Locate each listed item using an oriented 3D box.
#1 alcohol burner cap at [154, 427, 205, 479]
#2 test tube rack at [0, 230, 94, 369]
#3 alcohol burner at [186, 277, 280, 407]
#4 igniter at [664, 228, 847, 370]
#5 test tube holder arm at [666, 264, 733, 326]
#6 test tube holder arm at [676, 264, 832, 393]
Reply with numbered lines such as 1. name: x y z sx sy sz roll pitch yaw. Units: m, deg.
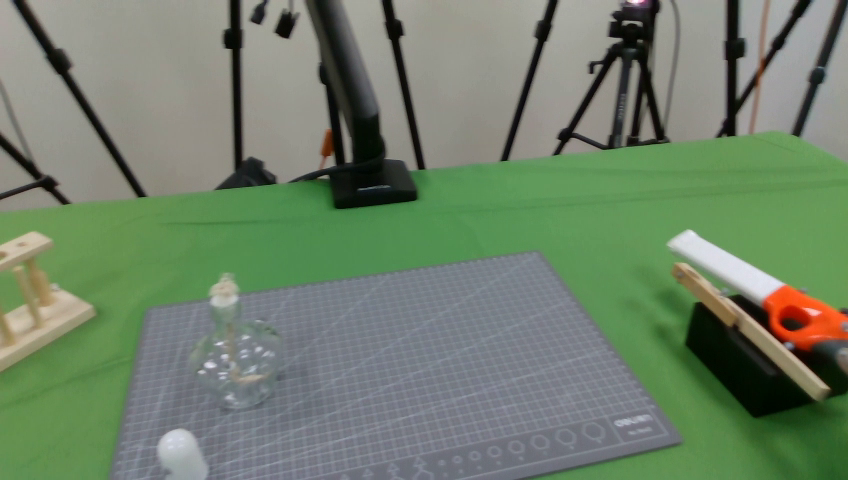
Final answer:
1. alcohol burner cap: -0.187 0.163 0.458 0.034 0.048 0.033 0 32 0
2. test tube rack: -0.440 0.088 0.545 0.066 0.086 0.242 18 36 27
3. alcohol burner: -0.165 0.083 0.517 0.078 0.120 0.077 0 30 1
4. igniter: 0.319 0.056 0.544 0.057 0.025 0.273 -32 32 -4
5. test tube holder arm: 0.260 0.050 0.570 0.010 0.015 0.087 -11 32 -15
6. test tube holder arm: 0.281 0.071 0.535 0.013 0.015 0.176 -12 32 -17
